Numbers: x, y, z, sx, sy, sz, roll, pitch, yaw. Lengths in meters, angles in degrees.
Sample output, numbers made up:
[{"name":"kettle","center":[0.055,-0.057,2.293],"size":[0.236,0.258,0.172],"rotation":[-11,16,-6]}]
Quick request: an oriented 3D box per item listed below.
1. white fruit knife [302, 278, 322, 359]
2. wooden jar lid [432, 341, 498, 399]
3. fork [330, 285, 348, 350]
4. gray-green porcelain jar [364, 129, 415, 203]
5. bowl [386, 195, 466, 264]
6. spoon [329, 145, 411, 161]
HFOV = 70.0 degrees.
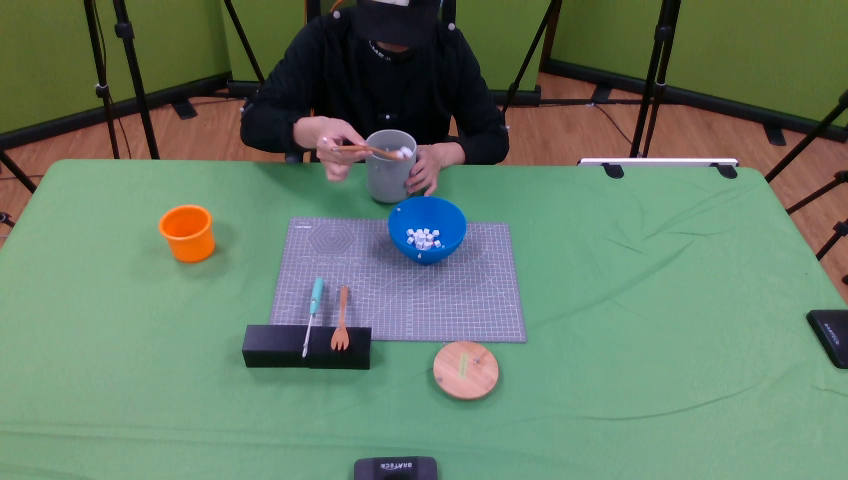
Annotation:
[{"name":"white fruit knife","center":[-0.189,0.126,1.020],"size":[0.016,0.027,0.206],"rotation":[0,33,-3]},{"name":"wooden jar lid","center":[0.067,0.216,0.997],"size":[0.108,0.021,0.107],"rotation":[1,46,-1]},{"name":"fork","center":[-0.140,0.127,1.021],"size":[0.028,0.019,0.206],"rotation":[-5,28,-2]},{"name":"gray-green porcelain jar","center":[-0.073,-0.149,1.264],"size":[0.106,0.127,0.105],"rotation":[3,46,-2]},{"name":"bowl","center":[0.003,-0.007,1.162],"size":[0.151,0.077,0.150],"rotation":[2,46,-2]},{"name":"spoon","center":[-0.095,-0.160,1.089],"size":[0.041,0.021,0.194],"rotation":[26,17,38]}]
